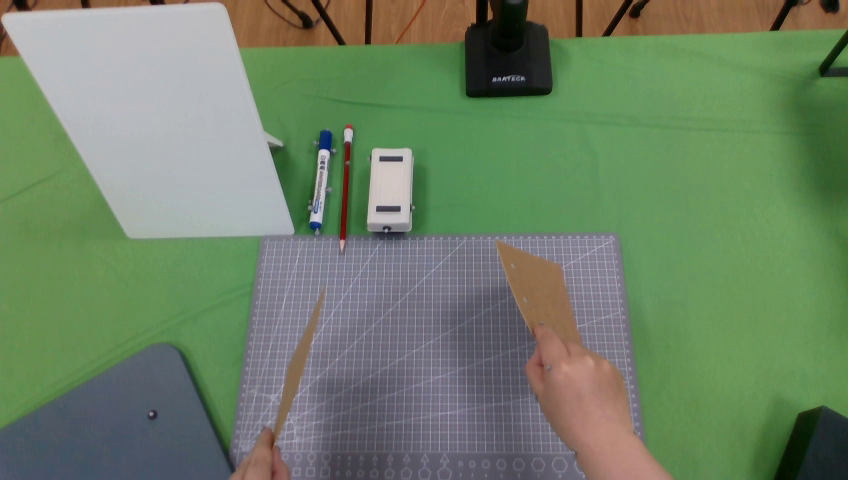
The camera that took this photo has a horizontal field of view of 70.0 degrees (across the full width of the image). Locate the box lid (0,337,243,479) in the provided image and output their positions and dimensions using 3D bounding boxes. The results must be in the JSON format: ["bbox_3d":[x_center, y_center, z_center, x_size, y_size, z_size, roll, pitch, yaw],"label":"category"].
[{"bbox_3d":[-0.317,0.306,0.637,0.263,0.015,0.368,-30,68,-10],"label":"box lid"}]

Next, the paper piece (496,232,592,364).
[{"bbox_3d":[0.133,0.064,0.662,0.008,0.137,0.137,-32,57,31],"label":"paper piece"}]

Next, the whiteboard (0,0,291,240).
[{"bbox_3d":[-0.281,-0.158,0.712,0.217,0.308,0.142,-1,47,3],"label":"whiteboard"}]

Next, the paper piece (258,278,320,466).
[{"bbox_3d":[-0.130,0.125,0.582,0.004,0.136,0.134,19,37,-13],"label":"paper piece"}]

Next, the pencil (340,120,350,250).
[{"bbox_3d":[-0.104,-0.075,0.794,0.012,0.012,0.192,-3,66,2],"label":"pencil"}]

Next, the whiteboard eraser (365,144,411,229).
[{"bbox_3d":[-0.045,-0.068,0.771,0.055,0.042,0.112,-1,66,4],"label":"whiteboard eraser"}]

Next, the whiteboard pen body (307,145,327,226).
[{"bbox_3d":[-0.139,-0.084,0.796,0.017,0.017,0.139,0,66,4],"label":"whiteboard pen body"}]

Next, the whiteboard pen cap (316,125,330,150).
[{"bbox_3d":[-0.136,-0.137,0.818,0.018,0.018,0.033,-1,66,3],"label":"whiteboard pen cap"}]
